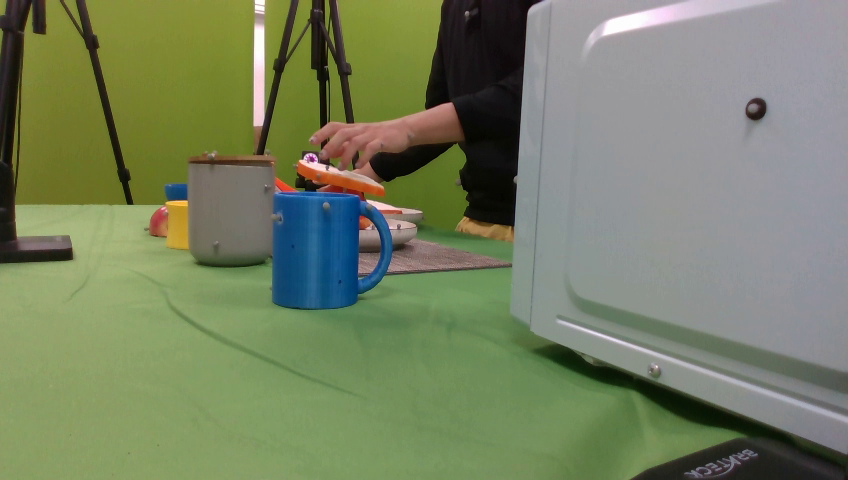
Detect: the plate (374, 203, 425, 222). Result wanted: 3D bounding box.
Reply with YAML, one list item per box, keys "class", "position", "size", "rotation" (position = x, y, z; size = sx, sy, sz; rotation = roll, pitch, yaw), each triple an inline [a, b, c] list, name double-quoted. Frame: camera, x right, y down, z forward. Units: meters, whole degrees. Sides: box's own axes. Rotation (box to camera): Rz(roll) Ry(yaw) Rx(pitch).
- class: "plate"
  position: [-0.102, -0.053, 1.299]
  size: [0.209, 0.038, 0.209]
  rotation: [2, 8, 0]

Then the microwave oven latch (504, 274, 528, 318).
- class: "microwave oven latch"
  position: [0.100, 0.041, 0.471]
  size: [0.079, 0.029, 0.030]
  rotation: [-1, 8, -28]

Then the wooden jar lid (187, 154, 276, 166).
- class: "wooden jar lid"
  position: [-0.244, -0.097, 0.771]
  size: [0.108, 0.020, 0.108]
  rotation: [-1, 7, 0]

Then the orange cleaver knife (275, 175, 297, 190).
- class: "orange cleaver knife"
  position: [-0.283, -0.087, 1.343]
  size: [0.212, 0.077, 0.012]
  rotation: [24, -16, -41]

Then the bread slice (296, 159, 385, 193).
- class: "bread slice"
  position: [-0.134, -0.103, 0.950]
  size: [0.132, 0.019, 0.104]
  rotation: [11, 12, -25]

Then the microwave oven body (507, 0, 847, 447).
- class: "microwave oven body"
  position: [0.331, -0.042, 0.425]
  size: [0.444, 0.260, 0.324]
  rotation: [-2, 8, -31]

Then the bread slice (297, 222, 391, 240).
- class: "bread slice"
  position: [-0.121, -0.015, 0.970]
  size: [0.106, 0.018, 0.135]
  rotation: [10, 9, 40]

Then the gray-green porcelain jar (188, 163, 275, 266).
- class: "gray-green porcelain jar"
  position: [-0.246, -0.034, 0.780]
  size: [0.106, 0.126, 0.106]
  rotation: [2, 7, 0]

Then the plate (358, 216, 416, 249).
- class: "plate"
  position: [-0.116, -0.014, 0.967]
  size: [0.208, 0.039, 0.207]
  rotation: [2, 7, 0]

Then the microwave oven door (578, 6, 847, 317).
- class: "microwave oven door"
  position: [0.294, -0.067, 0.570]
  size: [0.358, 0.243, 0.039]
  rotation: [-3, 9, -31]

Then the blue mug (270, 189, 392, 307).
- class: "blue mug"
  position: [-0.089, 0.005, 0.588]
  size: [0.117, 0.106, 0.082]
  rotation: [1, 7, -10]

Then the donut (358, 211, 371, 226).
- class: "donut"
  position: [-0.130, -0.042, 0.956]
  size: [0.099, 0.048, 0.099]
  rotation: [1, 7, 0]

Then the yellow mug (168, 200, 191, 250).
- class: "yellow mug"
  position: [-0.320, -0.022, 0.904]
  size: [0.130, 0.064, 0.100]
  rotation: [8, 10, 36]

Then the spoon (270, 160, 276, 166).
- class: "spoon"
  position: [-0.396, -0.150, 1.548]
  size: [0.042, 0.193, 0.021]
  rotation: [3, -37, -4]

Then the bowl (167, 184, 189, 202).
- class: "bowl"
  position: [-0.408, -0.064, 1.154]
  size: [0.151, 0.077, 0.151]
  rotation: [2, 8, 0]

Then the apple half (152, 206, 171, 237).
- class: "apple half"
  position: [-0.415, -0.034, 1.017]
  size: [0.081, 0.053, 0.074]
  rotation: [1, 10, -9]

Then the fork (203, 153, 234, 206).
- class: "fork"
  position: [-0.480, -0.136, 1.412]
  size: [0.028, 0.018, 0.207]
  rotation: [1, -34, -1]
